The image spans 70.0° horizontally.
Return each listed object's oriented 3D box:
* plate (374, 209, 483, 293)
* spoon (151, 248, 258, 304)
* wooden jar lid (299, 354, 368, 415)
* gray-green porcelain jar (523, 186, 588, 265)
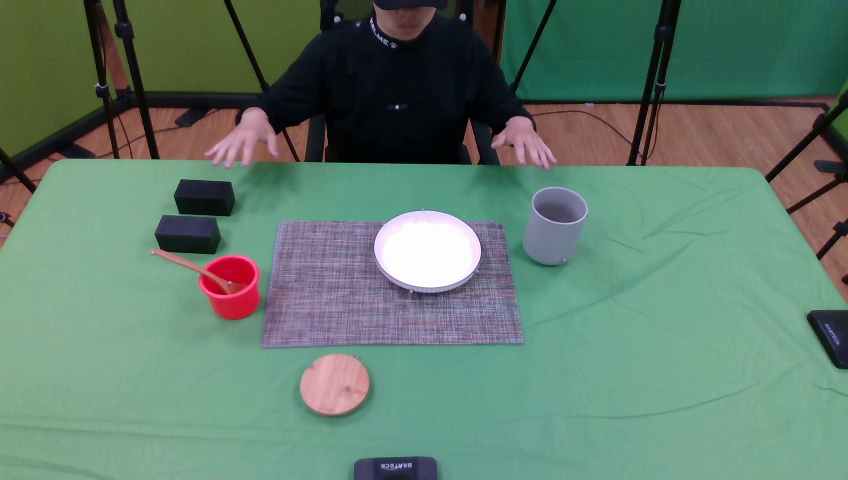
[{"bbox_3d":[0.008,0.024,1.158,0.208,0.039,0.206,2,46,-2],"label":"plate"},{"bbox_3d":[-0.369,0.058,1.028,0.195,0.021,0.041,36,35,-32],"label":"spoon"},{"bbox_3d":[-0.143,0.232,0.964,0.108,0.021,0.107,2,45,-2],"label":"wooden jar lid"},{"bbox_3d":[0.249,-0.023,1.164,0.106,0.127,0.105,2,46,-2],"label":"gray-green porcelain jar"}]
